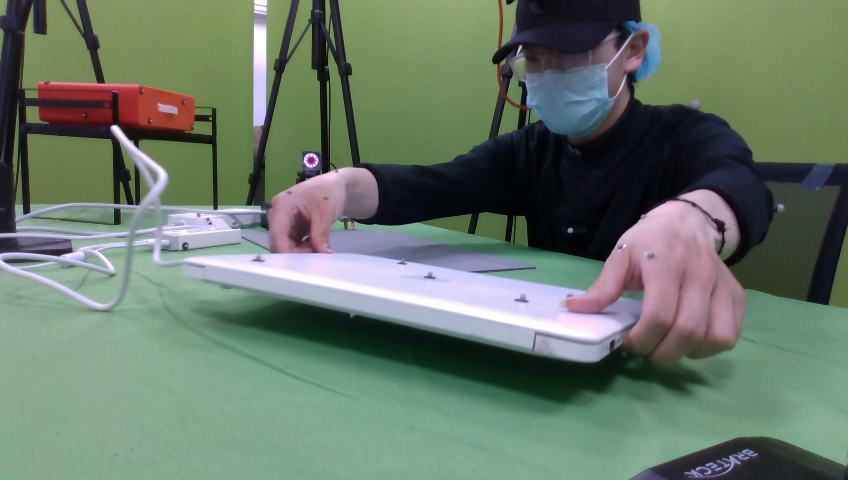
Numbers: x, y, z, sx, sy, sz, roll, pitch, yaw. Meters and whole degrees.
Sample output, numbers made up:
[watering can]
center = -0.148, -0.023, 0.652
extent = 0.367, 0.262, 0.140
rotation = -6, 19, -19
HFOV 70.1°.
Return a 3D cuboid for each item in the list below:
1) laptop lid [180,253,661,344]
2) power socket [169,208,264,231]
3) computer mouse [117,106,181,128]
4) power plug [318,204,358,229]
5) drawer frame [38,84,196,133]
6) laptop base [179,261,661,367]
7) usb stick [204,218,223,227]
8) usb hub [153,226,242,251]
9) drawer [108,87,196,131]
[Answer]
[laptop lid]
center = 0.002, 0.036, 0.516
extent = 0.355, 0.013, 0.243
rotation = 8, 3, 31
[power socket]
center = -0.381, -0.038, 1.128
extent = 0.072, 0.032, 0.227
rotation = 4, 8, 16
[computer mouse]
center = -0.566, -0.252, 1.242
extent = 0.062, 0.041, 0.118
rotation = 18, 27, 42
[power plug]
center = -0.169, -0.044, 1.207
extent = 0.072, 0.052, 0.035
rotation = -10, -11, -1
[drawer frame]
center = -0.612, -0.265, 1.229
extent = 0.213, 0.082, 0.202
rotation = 3, 8, 7
[laptop base]
center = -0.001, 0.049, 0.516
extent = 0.353, 0.023, 0.237
rotation = 8, 3, 30
[usb stick]
center = -0.346, -0.018, 1.010
extent = 0.027, 0.021, 0.059
rotation = 46, -9, 1
[usb hub]
center = -0.337, -0.003, 0.907
extent = 0.049, 0.025, 0.125
rotation = 6, 9, 28
[drawer]
center = -0.609, -0.264, 1.229
extent = 0.211, 0.073, 0.194
rotation = 3, 8, 9
